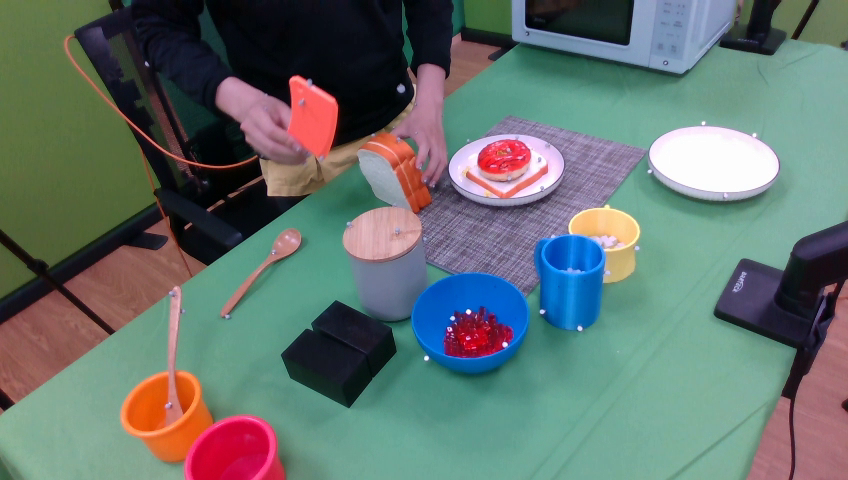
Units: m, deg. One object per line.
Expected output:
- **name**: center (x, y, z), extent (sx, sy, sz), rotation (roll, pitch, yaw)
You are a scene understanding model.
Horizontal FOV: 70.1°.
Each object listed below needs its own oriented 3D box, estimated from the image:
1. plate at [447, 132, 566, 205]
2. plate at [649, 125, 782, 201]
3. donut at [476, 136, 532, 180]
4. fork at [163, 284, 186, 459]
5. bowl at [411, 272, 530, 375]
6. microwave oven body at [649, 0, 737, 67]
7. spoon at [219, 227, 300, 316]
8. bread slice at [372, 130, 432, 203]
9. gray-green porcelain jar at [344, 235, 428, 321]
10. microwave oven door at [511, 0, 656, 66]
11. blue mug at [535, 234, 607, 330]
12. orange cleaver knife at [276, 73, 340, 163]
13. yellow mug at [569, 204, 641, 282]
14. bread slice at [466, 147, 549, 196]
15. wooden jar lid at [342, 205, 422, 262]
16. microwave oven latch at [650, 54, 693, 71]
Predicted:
- **plate**: center (0.146, -0.124, 1.076), extent (0.209, 0.038, 0.208), rotation (-4, 41, 4)
- **plate**: center (0.493, -0.127, 1.036), extent (0.207, 0.039, 0.206), rotation (-4, 41, 4)
- **donut**: center (0.140, -0.146, 1.059), extent (0.099, 0.048, 0.098), rotation (-7, 41, 6)
- **fork**: center (-0.302, 0.157, 0.733), extent (0.028, 0.019, 0.207), rotation (-3, 84, 16)
- **bowl**: center (0.061, 0.120, 0.780), extent (0.151, 0.077, 0.150), rotation (-4, 40, 4)
- **microwave oven body**: center (0.475, -0.602, 1.411), extent (0.438, 0.261, 0.327), rotation (23, 50, 32)
- **spoon**: center (-0.261, 0.046, 0.954), extent (0.041, 0.021, 0.194), rotation (27, 48, 10)
- **bread slice**: center (-0.042, -0.127, 1.039), extent (0.106, 0.135, 0.018), rotation (28, 61, 34)
- **gray-green porcelain jar**: center (-0.049, 0.042, 0.849), extent (0.106, 0.127, 0.105), rotation (-4, 41, 4)
- **microwave oven door**: center (0.350, -0.539, 1.348), extent (0.353, 0.245, 0.039), rotation (24, 50, 31)
- **blue mug**: center (0.191, 0.048, 0.824), extent (0.082, 0.106, 0.115), rotation (-26, 44, -20)
- **orange cleaver knife**: center (-0.154, -0.140, 0.782), extent (0.077, 0.211, 0.012), rotation (39, 61, -4)
- **yellow mug**: center (0.268, -0.005, 0.904), extent (0.099, 0.064, 0.130), rotation (7, 41, 15)
- **bread slice**: center (0.156, -0.129, 1.085), extent (0.132, 0.019, 0.104), rotation (-34, 48, -23)
- **wooden jar lid**: center (-0.055, -0.006, 0.808), extent (0.108, 0.021, 0.108), rotation (-6, 40, 6)
- **microwave oven latch**: center (0.531, -0.386, 1.301), extent (0.078, 0.029, 0.030), rotation (26, 51, 33)
